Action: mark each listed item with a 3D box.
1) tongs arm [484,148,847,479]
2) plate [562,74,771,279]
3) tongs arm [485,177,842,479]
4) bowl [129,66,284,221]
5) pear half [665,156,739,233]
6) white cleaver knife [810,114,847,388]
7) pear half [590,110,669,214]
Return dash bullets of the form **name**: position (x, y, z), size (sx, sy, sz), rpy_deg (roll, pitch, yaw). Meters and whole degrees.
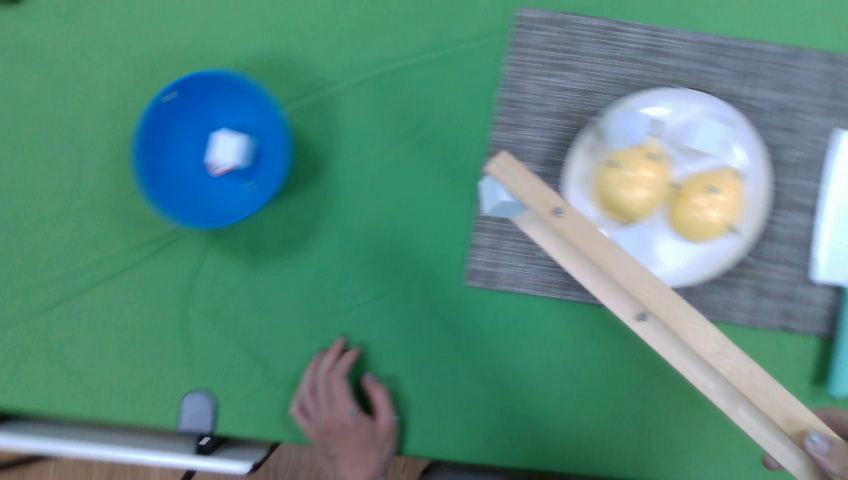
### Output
- **tongs arm**: position (0.191, 0.062, 0.443), size (0.028, 0.028, 0.385), rpy_deg (-44, 76, -10)
- **plate**: position (0.245, -0.064, 0.626), size (0.207, 0.039, 0.207), rpy_deg (0, 92, 2)
- **tongs arm**: position (0.194, 0.070, 0.470), size (0.383, 0.051, 0.026), rpy_deg (44, 83, 11)
- **bowl**: position (-0.211, -0.094, 0.625), size (0.151, 0.077, 0.151), rpy_deg (0, 93, 2)
- **pear half**: position (0.292, -0.049, 0.620), size (0.070, 0.031, 0.088), rpy_deg (39, 99, -3)
- **white cleaver knife**: position (0.440, 0.012, 0.636), size (0.066, 0.021, 0.286), rpy_deg (5, 89, 11)
- **pear half**: position (0.216, -0.084, 0.613), size (0.076, 0.056, 0.110), rpy_deg (18, 89, -3)
